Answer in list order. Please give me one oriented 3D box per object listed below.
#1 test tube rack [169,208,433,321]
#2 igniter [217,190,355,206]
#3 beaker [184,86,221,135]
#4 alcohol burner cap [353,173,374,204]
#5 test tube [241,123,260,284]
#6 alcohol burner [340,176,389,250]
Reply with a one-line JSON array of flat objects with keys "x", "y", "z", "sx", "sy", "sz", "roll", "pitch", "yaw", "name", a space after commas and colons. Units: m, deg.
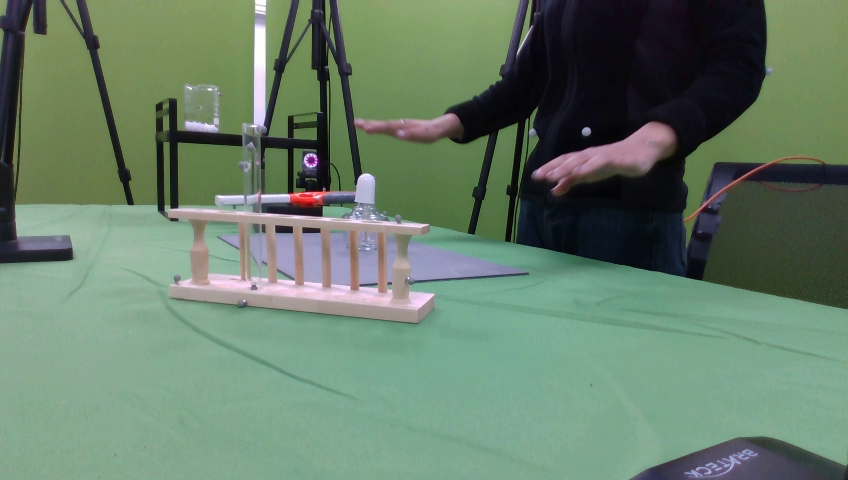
[{"x": -0.115, "y": 0.018, "z": 0.574, "sx": 0.242, "sy": 0.085, "sz": 0.067, "roll": 4, "pitch": 8, "yaw": 14, "name": "test tube rack"}, {"x": -0.248, "y": -0.080, "z": 1.152, "sx": 0.278, "sy": 0.025, "sz": 0.057, "roll": -4, "pitch": 12, "yaw": -27, "name": "igniter"}, {"x": -0.475, "y": -0.277, "z": 1.296, "sx": 0.074, "sy": 0.100, "sz": 0.084, "roll": 2, "pitch": 8, "yaw": -1, "name": "beaker"}, {"x": -0.092, "y": -0.081, "z": 0.936, "sx": 0.034, "sy": 0.048, "sz": 0.034, "roll": 6, "pitch": 10, "yaw": -1, "name": "alcohol burner cap"}, {"x": -0.160, "y": -0.032, "z": 0.558, "sx": 0.017, "sy": 0.150, "sz": 0.017, "roll": 3, "pitch": 13, "yaw": 0, "name": "test tube"}, {"x": -0.093, "y": -0.045, "z": 0.939, "sx": 0.078, "sy": 0.119, "sz": 0.078, "roll": 0, "pitch": 7, "yaw": 0, "name": "alcohol burner"}]
